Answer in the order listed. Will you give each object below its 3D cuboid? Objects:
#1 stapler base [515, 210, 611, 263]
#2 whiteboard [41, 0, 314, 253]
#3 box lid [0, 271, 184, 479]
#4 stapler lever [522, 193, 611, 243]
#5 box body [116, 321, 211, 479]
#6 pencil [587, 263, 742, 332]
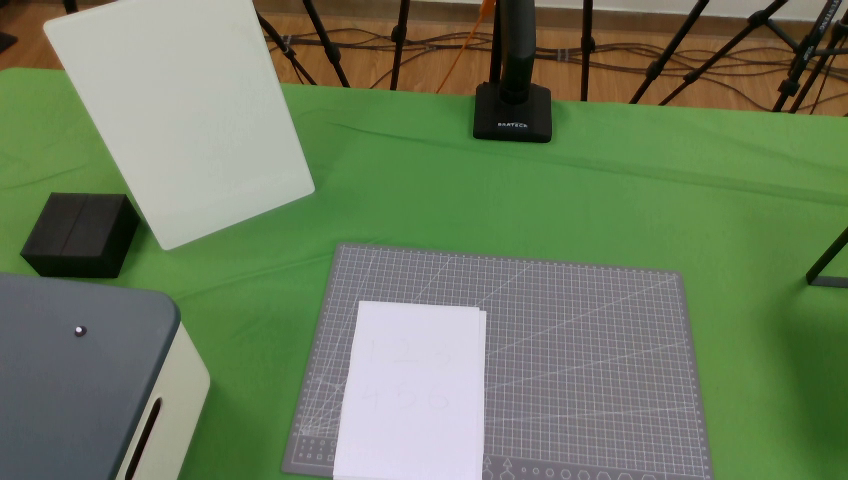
[{"bbox_3d":[0.187,-0.016,0.804,0.130,0.024,0.041,28,58,18],"label":"stapler base"},{"bbox_3d":[-0.305,-0.178,0.793,0.217,0.308,0.142,-24,38,-16],"label":"whiteboard"},{"bbox_3d":[-0.426,0.137,0.523,0.371,0.015,0.261,6,54,4],"label":"box lid"},{"bbox_3d":[0.185,-0.032,0.783,0.117,0.040,0.027,28,58,20],"label":"stapler lever"},{"bbox_3d":[-0.424,0.182,0.583,0.364,0.162,0.252,6,54,4],"label":"box body"},{"bbox_3d":[0.294,0.068,0.753,0.193,0.012,0.012,25,58,21],"label":"pencil"}]
